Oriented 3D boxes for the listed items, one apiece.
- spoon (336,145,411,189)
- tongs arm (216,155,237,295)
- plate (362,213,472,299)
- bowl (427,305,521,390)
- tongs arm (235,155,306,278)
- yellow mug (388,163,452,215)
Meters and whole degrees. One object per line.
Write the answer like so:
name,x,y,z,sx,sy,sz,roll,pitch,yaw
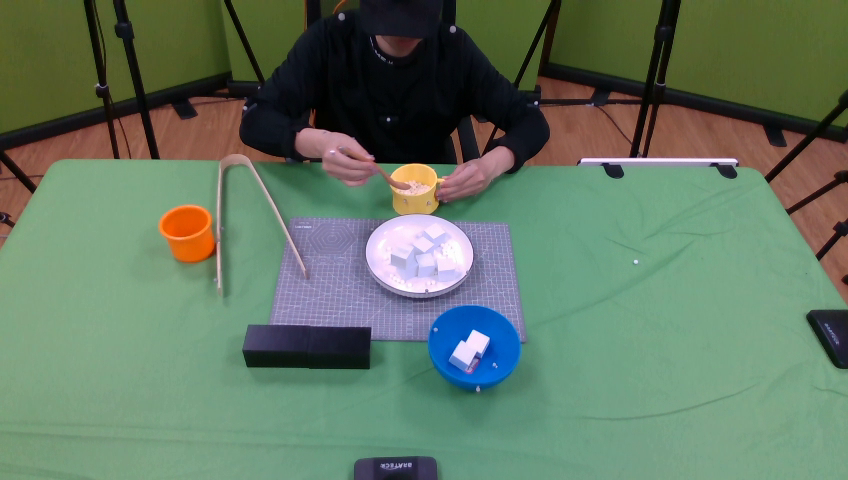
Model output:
spoon,-0.092,-0.137,1.131,0.041,0.195,0.021,33,91,44
tongs arm,-0.388,-0.043,1.201,0.051,0.026,0.382,-9,46,-12
plate,-0.013,0.034,1.150,0.208,0.039,0.206,2,46,-2
bowl,0.076,0.188,0.985,0.151,0.077,0.150,3,46,-3
tongs arm,-0.312,-0.058,1.224,0.028,0.028,0.385,-22,50,-19
yellow mug,-0.006,-0.105,1.257,0.131,0.064,0.099,-3,48,2
